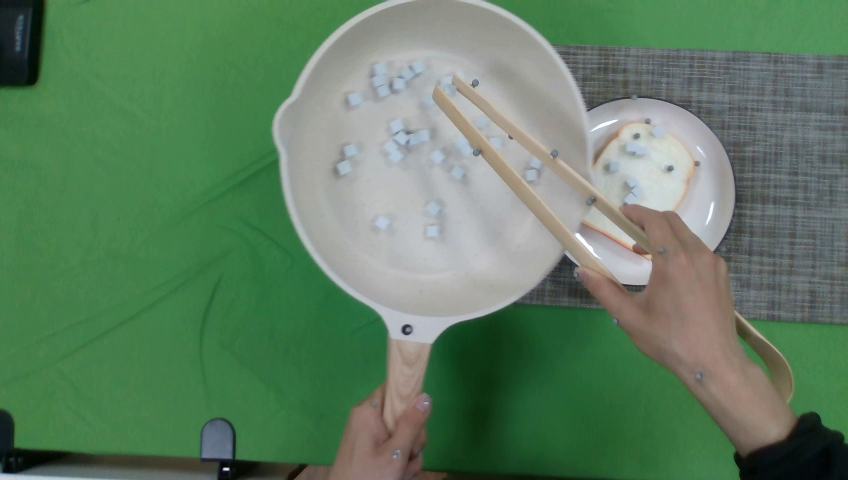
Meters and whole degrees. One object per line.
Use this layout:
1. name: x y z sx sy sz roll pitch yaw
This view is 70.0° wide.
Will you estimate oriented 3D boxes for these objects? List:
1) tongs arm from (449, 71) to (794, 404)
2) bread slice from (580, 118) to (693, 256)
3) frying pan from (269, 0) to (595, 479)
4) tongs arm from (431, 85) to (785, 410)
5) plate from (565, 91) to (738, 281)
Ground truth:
1. tongs arm: 0.154 -0.008 0.516 0.383 0.026 0.050 40 75 8
2. bread slice: 0.229 -0.066 0.670 0.107 0.018 0.134 26 91 4
3. frying pan: -0.004 0.029 0.558 0.308 0.102 0.486 11 83 -15
4. tongs arm: 0.141 0.003 0.512 0.028 0.028 0.386 -41 80 -18
5. plate: 0.231 -0.058 0.668 0.207 0.039 0.207 0 87 4
